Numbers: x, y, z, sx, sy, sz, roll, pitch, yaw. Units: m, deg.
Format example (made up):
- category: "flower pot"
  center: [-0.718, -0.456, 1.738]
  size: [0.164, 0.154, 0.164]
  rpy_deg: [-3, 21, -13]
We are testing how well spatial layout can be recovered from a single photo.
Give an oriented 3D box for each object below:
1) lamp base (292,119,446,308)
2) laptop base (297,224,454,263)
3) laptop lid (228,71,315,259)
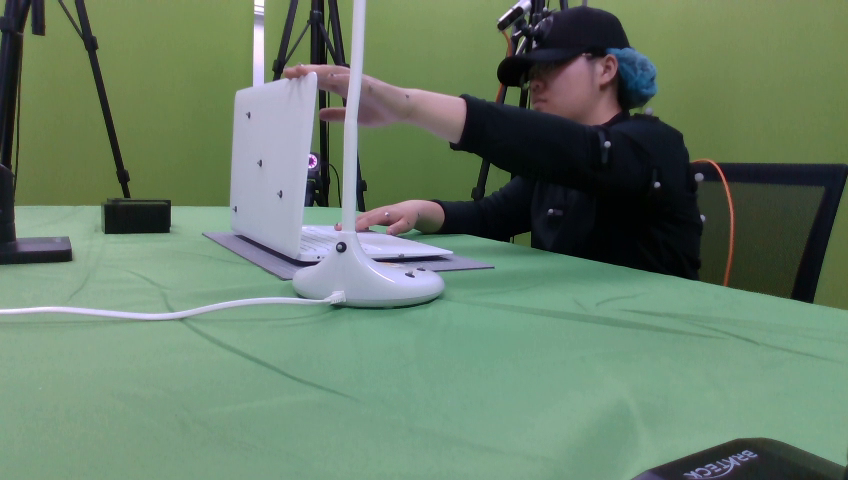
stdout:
- category: "lamp base"
  center: [-0.056, -0.030, 0.616]
  size: [0.160, 0.180, 0.179]
  rpy_deg: [4, 10, 8]
- category: "laptop base"
  center: [-0.143, 0.004, 0.957]
  size: [0.237, 0.023, 0.352]
  rpy_deg: [2, 6, -32]
- category: "laptop lid"
  center: [-0.235, -0.113, 0.883]
  size: [0.013, 0.241, 0.355]
  rpy_deg: [3, 8, -32]
